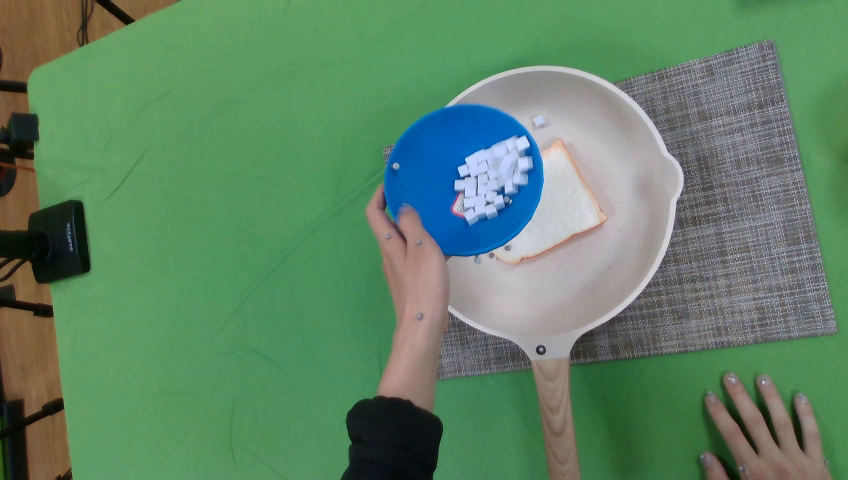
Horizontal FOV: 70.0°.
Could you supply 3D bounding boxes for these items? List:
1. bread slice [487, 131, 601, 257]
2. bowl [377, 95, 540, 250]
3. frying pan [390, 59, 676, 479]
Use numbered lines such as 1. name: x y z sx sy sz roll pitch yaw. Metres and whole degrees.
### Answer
1. bread slice: 0.120 -0.042 0.690 0.134 0.018 0.106 -33 78 15
2. bowl: 0.037 -0.055 0.590 0.151 0.077 0.150 -2 76 9
3. frying pan: 0.120 0.056 0.645 0.306 0.103 0.485 -8 77 22
